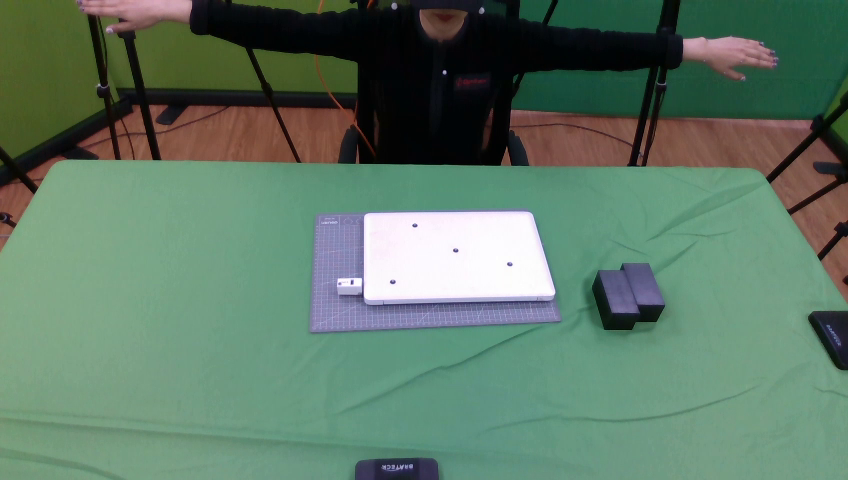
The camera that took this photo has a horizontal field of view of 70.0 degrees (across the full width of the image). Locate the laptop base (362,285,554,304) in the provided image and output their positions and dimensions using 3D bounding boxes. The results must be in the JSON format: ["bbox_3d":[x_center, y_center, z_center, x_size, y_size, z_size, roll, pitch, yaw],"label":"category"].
[{"bbox_3d":[0.059,0.032,1.174,0.355,0.023,0.234,-1,43,-5],"label":"laptop base"}]

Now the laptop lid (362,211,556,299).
[{"bbox_3d":[0.059,0.022,1.168,0.357,0.013,0.240,0,44,-4],"label":"laptop lid"}]

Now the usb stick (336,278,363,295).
[{"bbox_3d":[-0.128,0.083,1.094,0.059,0.027,0.021,2,44,-5],"label":"usb stick"}]
